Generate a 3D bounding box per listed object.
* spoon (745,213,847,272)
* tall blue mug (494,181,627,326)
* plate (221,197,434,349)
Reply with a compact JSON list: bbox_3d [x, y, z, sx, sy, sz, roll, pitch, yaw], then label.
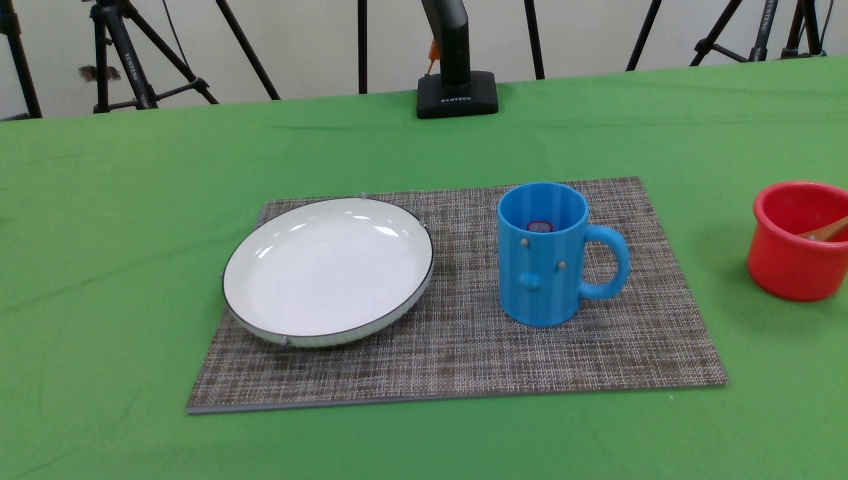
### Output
[{"bbox_3d":[0.375,-0.020,0.522,0.194,0.022,0.041,-37,24,39],"label":"spoon"},{"bbox_3d":[0.118,0.011,0.543,0.107,0.109,0.077,-8,39,-1],"label":"tall blue mug"},{"bbox_3d":[-0.092,0.032,0.604,0.207,0.039,0.205,-4,39,3],"label":"plate"}]
